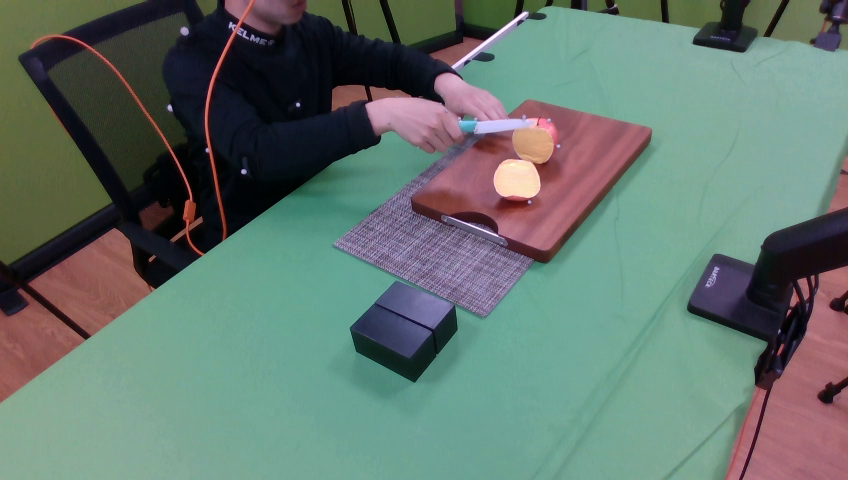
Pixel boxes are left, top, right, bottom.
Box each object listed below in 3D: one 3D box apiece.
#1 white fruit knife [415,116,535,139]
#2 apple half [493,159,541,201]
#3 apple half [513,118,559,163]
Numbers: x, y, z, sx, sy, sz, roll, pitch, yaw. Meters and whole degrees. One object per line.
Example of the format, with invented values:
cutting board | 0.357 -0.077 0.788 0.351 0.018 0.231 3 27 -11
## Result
white fruit knife | 0.079 -0.186 0.986 0.206 0.027 0.016 -3 44 20
apple half | 0.153 -0.095 0.999 0.081 0.033 0.081 -1 64 2
apple half | 0.202 -0.179 1.066 0.080 0.075 0.053 14 41 29
